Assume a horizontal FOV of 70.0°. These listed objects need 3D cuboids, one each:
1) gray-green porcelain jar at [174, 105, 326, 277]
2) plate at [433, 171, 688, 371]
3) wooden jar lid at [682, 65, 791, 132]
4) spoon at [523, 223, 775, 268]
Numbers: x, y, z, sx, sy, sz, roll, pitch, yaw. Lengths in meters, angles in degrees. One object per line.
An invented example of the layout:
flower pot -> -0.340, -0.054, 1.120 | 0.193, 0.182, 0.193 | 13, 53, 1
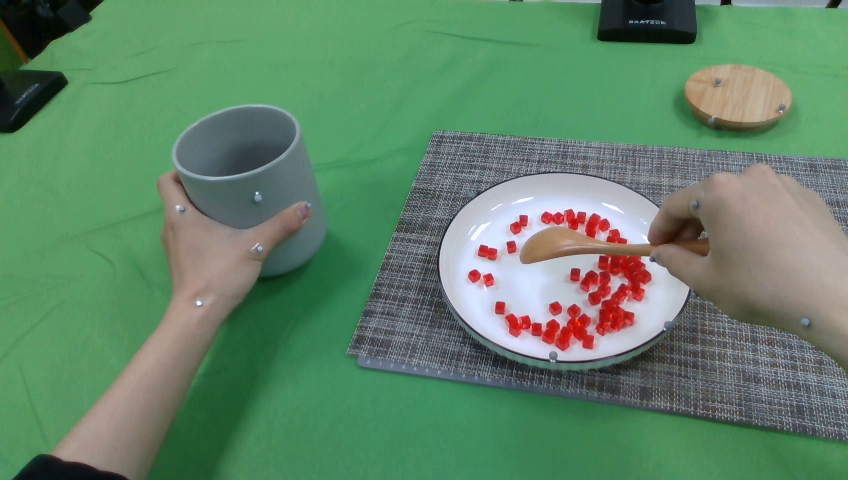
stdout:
gray-green porcelain jar -> -0.148, -0.038, 0.541 | 0.106, 0.128, 0.105 | -3, 45, 3
plate -> 0.112, 0.024, 0.518 | 0.207, 0.039, 0.205 | -4, 48, 4
wooden jar lid -> 0.339, -0.154, 0.662 | 0.108, 0.021, 0.107 | -4, 49, 4
spoon -> 0.147, 0.007, 0.434 | 0.192, 0.022, 0.041 | 4, 59, 45
